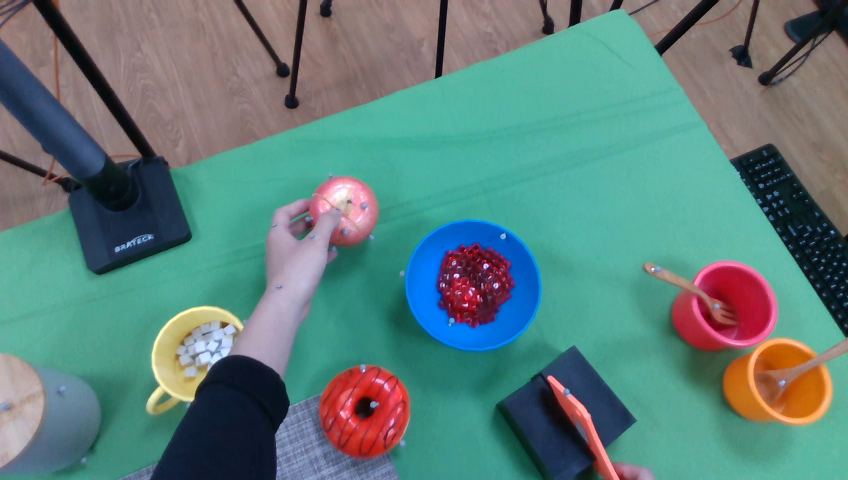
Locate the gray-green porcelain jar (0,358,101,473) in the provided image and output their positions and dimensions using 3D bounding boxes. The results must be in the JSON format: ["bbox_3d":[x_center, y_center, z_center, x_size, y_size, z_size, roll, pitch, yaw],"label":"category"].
[{"bbox_3d":[-0.394,0.175,0.599,0.106,0.127,0.105,1,70,-3],"label":"gray-green porcelain jar"}]

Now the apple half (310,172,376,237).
[{"bbox_3d":[-0.087,-0.047,0.708,0.080,0.075,0.053,38,73,5],"label":"apple half"}]

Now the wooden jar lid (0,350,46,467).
[{"bbox_3d":[-0.392,0.153,0.541,0.108,0.021,0.107,1,69,-1],"label":"wooden jar lid"}]

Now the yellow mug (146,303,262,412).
[{"bbox_3d":[-0.244,0.135,0.653,0.099,0.064,0.130,41,75,12],"label":"yellow mug"}]

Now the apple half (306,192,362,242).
[{"bbox_3d":[-0.111,-0.018,0.698,0.081,0.081,0.032,36,75,10],"label":"apple half"}]

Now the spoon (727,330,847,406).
[{"bbox_3d":[0.416,0.124,0.650,0.022,0.194,0.041,-6,59,-53],"label":"spoon"}]

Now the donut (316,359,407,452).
[{"bbox_3d":[-0.067,0.178,0.656,0.099,0.048,0.098,1,71,-4],"label":"donut"}]

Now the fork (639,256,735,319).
[{"bbox_3d":[0.295,0.053,0.669,0.209,0.018,0.028,25,63,-39],"label":"fork"}]

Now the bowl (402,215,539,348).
[{"bbox_3d":[0.050,0.055,0.691,0.151,0.077,0.150,1,71,-3],"label":"bowl"}]

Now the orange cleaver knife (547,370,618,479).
[{"bbox_3d":[0.183,0.229,0.635,0.012,0.077,0.212,-30,103,-7],"label":"orange cleaver knife"}]
